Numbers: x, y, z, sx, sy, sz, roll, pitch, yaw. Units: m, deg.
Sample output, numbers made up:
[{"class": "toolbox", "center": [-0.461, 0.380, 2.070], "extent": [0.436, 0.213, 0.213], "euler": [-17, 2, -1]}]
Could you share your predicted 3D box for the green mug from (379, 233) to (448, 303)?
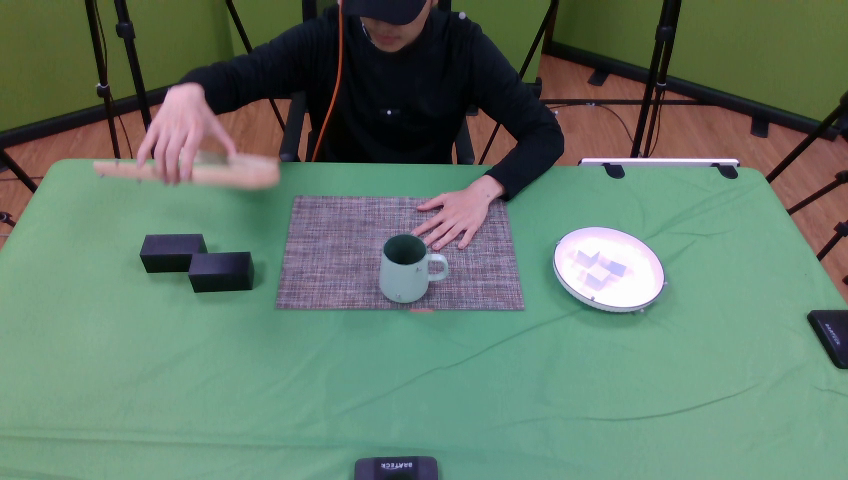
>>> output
[{"class": "green mug", "center": [-0.019, 0.050, 1.085], "extent": [0.125, 0.105, 0.092], "euler": [-1, 46, -4]}]

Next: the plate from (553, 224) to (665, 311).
[{"class": "plate", "center": [0.349, 0.055, 1.159], "extent": [0.209, 0.038, 0.208], "euler": [2, 47, -2]}]

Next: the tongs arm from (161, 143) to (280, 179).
[{"class": "tongs arm", "center": [-0.355, -0.138, 1.027], "extent": [0.386, 0.028, 0.028], "euler": [13, 23, 40]}]

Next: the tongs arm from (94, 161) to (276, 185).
[{"class": "tongs arm", "center": [-0.396, -0.113, 0.973], "extent": [0.383, 0.026, 0.051], "euler": [7, 23, 31]}]
